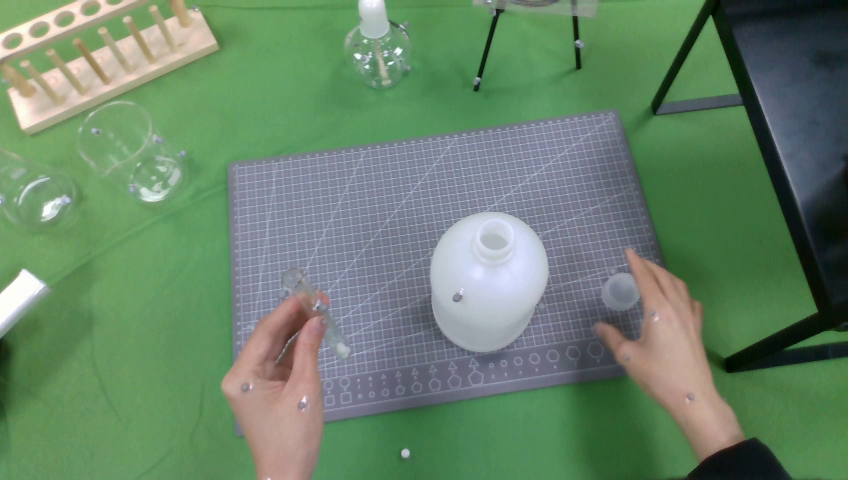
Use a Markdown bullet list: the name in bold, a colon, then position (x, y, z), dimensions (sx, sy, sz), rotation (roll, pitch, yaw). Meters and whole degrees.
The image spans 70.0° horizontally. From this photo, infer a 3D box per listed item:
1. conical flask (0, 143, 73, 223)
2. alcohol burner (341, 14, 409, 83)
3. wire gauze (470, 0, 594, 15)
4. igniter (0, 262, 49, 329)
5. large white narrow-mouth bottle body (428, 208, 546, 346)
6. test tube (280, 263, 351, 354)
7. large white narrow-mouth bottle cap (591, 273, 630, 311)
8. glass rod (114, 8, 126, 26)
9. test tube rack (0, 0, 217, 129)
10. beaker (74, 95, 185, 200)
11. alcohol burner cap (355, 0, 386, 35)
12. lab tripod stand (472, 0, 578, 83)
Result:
- **conical flask**: position (-0.428, -0.072, 0.620), dimensions (0.075, 0.122, 0.075), rotation (0, 68, 2)
- **alcohol burner**: position (-0.057, -0.233, 0.680), dimensions (0.078, 0.120, 0.077), rotation (0, 67, 0)
- **wire gauze**: position (0.117, -0.283, 0.612), dimensions (0.121, 0.011, 0.124), rotation (12, 71, 4)
- **igniter**: position (-0.458, 0.133, 0.544), dimensions (0.057, 0.025, 0.276), rotation (34, 70, 11)
- **large white narrow-mouth bottle body**: position (0.054, 0.028, 0.532), dimensions (0.102, 0.196, 0.101), rotation (0, 70, 2)
- **test tube**: position (-0.078, 0.057, 0.460), dimensions (0.017, 0.151, 0.017), rotation (-3, 61, 6)
- **large white narrow-mouth bottle cap**: position (0.190, 0.053, 0.613), dimensions (0.038, 0.024, 0.037), rotation (0, 70, 1)
- **glass rod**: position (-0.360, -0.287, 0.649), dimensions (0.008, 0.201, 0.008), rotation (-3, 63, 7)
- **test tube rack**: position (-0.376, -0.226, 0.698), dimensions (0.242, 0.086, 0.066), rotation (-28, 71, -9)
- **beaker**: position (-0.304, -0.090, 0.637), dimensions (0.074, 0.101, 0.083), rotation (6, 69, 4)
- **alcohol burner cap**: position (-0.059, -0.247, 0.646), dimensions (0.034, 0.048, 0.033), rotation (0, 68, 1)
- **lab tripod stand**: position (0.112, -0.255, 0.674), dimensions (0.148, 0.132, 0.147), rotation (0, 68, 0)
